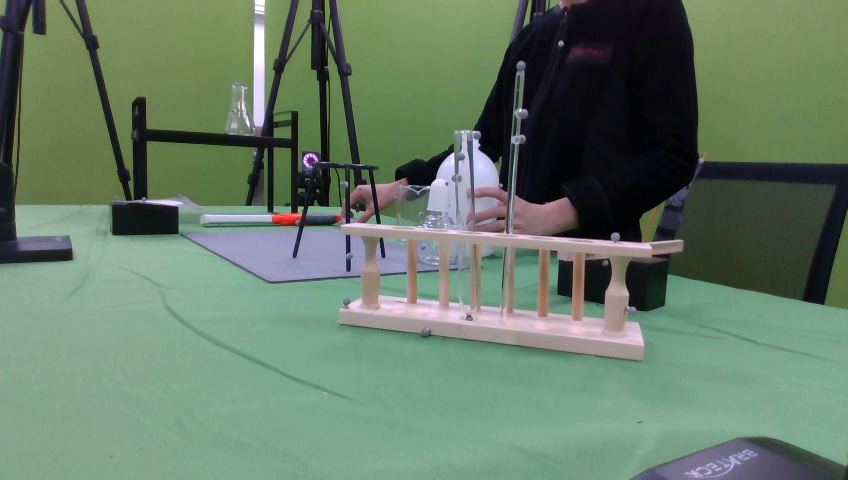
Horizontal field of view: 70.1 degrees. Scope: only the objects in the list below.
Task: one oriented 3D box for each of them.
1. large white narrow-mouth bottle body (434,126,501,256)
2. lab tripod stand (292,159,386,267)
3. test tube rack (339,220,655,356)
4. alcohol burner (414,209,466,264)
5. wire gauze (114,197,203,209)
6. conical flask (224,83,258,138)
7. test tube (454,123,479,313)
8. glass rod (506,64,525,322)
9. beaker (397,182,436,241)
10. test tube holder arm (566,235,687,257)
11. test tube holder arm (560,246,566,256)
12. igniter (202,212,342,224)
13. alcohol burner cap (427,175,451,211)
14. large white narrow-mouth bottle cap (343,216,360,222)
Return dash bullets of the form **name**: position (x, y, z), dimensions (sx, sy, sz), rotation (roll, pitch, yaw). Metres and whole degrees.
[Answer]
- **large white narrow-mouth bottle body**: position (0.069, -0.078, 0.937), dimensions (0.102, 0.194, 0.102), rotation (2, 8, 0)
- **lab tripod stand**: position (-0.105, -0.039, 0.798), dimensions (0.148, 0.131, 0.148), rotation (2, 5, 0)
- **test tube rack**: position (0.056, 0.032, 0.495), dimensions (0.242, 0.085, 0.067), rotation (4, 7, 15)
- **alcohol burner**: position (0.021, -0.028, 0.826), dimensions (0.078, 0.119, 0.078), rotation (0, 6, 0)
- **wire gauze**: position (-0.447, -0.062, 1.015), dimensions (0.126, 0.011, 0.121), rotation (-2, 8, -31)
- **conical flask**: position (-0.422, -0.299, 1.395), dimensions (0.075, 0.122, 0.075), rotation (2, 7, 0)
- **test tube**: position (0.034, -0.016, 0.477), dimensions (0.017, 0.150, 0.017), rotation (-2, 9, 1)
- **glass rod**: position (0.069, -0.030, 0.458), dimensions (0.008, 0.199, 0.008), rotation (0, 15, 0)
- **beaker**: position (-0.012, -0.050, 1.072), dimensions (0.074, 0.100, 0.084), rotation (1, 8, -4)
- **test tube holder arm**: position (0.215, 0.006, 0.630), dimensions (0.179, 0.015, 0.013), rotation (-3, 10, -30)
- **test tube holder arm**: position (0.173, 0.007, 0.611), dimensions (0.088, 0.015, 0.010), rotation (-3, 9, -30)
- **igniter**: position (-0.298, -0.044, 1.216), dimensions (0.278, 0.025, 0.057), rotation (-2, -2, -32)
- **alcohol burner cap**: position (0.023, -0.064, 0.822), dimensions (0.034, 0.048, 0.034), rotation (7, 5, 0)
- **large white narrow-mouth bottle cap**: position (-0.148, -0.036, 1.234), dimensions (0.038, 0.024, 0.037), rotation (2, 8, 0)
